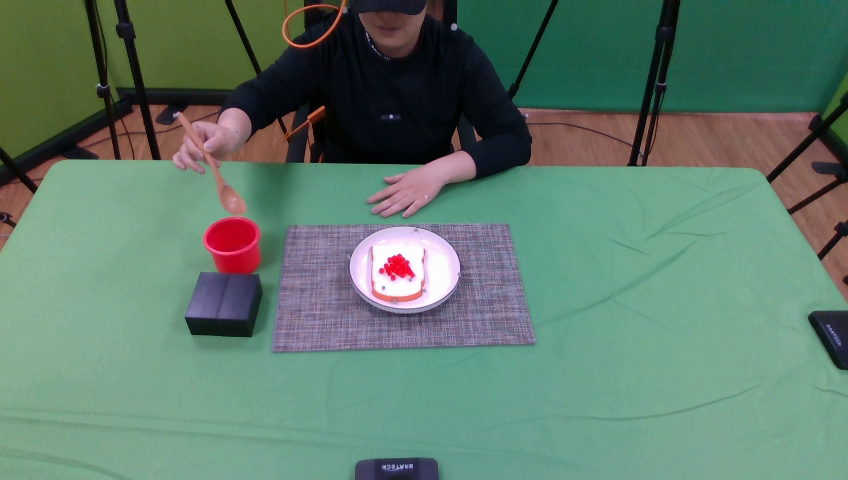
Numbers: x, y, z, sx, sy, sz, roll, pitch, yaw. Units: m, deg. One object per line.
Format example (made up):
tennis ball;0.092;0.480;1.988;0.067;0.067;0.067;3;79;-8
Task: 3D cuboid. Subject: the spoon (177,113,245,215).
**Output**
spoon;-0.362;-0.127;1.030;0.021;0.194;0.041;-9;24;40

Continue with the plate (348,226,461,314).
plate;-0.035;0.058;1.123;0.209;0.038;0.208;2;46;-2

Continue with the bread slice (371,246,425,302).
bread slice;-0.047;0.060;1.124;0.105;0.019;0.130;0;45;-3
